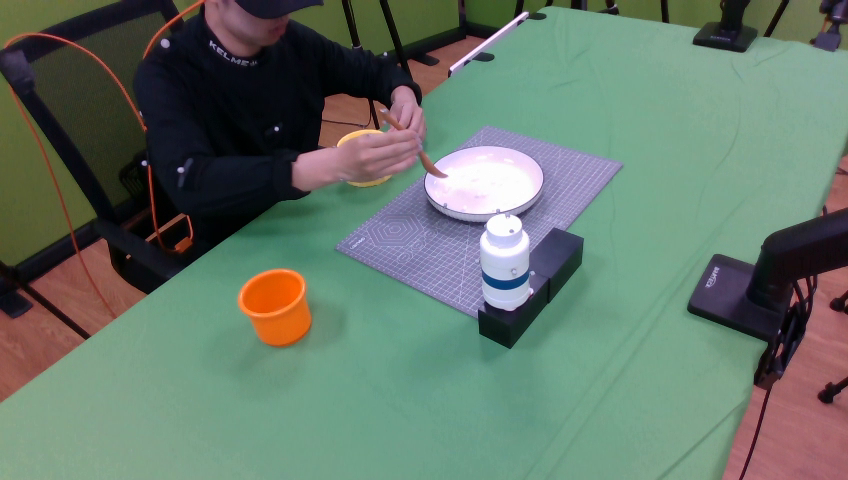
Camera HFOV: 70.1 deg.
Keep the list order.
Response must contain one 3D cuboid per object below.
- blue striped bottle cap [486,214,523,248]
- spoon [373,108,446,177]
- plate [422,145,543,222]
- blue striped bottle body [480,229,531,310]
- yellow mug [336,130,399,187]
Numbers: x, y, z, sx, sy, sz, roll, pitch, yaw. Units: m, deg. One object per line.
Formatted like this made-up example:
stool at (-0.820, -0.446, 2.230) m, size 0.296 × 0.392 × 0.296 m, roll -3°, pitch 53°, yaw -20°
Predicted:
blue striped bottle cap at (0.098, -0.011, 0.735) m, size 0.044 × 0.021 × 0.044 m, roll -3°, pitch 38°, yaw 3°
spoon at (-0.022, -0.151, 0.952) m, size 0.041 × 0.195 × 0.021 m, roll 29°, pitch 80°, yaw 43°
plate at (0.101, -0.094, 1.048) m, size 0.207 × 0.039 × 0.206 m, roll -4°, pitch 41°, yaw 4°
blue striped bottle body at (0.104, 0.027, 0.769) m, size 0.063 × 0.121 × 0.063 m, roll -4°, pitch 40°, yaw 4°
yellow mug at (-0.098, -0.161, 1.138) m, size 0.131 × 0.064 × 0.099 m, roll -34°, pitch 47°, yaw -29°
